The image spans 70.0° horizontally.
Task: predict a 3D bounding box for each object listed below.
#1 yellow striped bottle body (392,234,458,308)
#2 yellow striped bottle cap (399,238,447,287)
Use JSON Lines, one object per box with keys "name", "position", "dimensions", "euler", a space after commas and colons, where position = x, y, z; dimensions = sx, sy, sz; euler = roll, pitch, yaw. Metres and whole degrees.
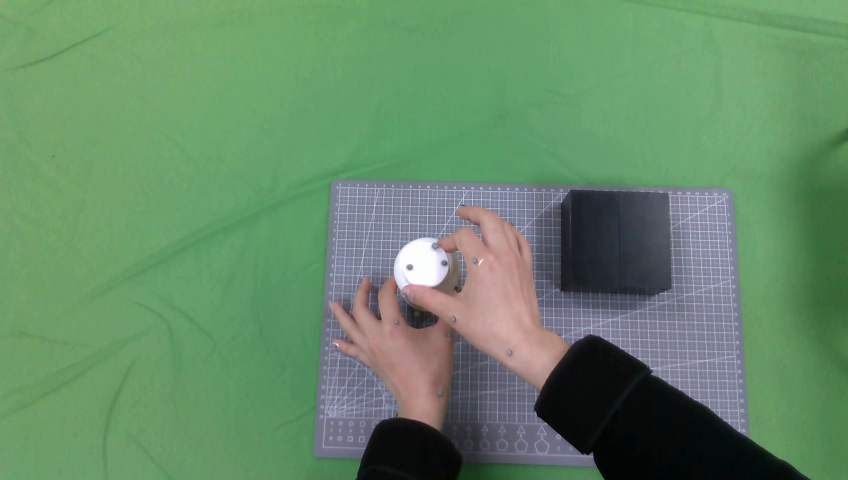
{"name": "yellow striped bottle body", "position": [0.001, 0.032, 0.603], "dimensions": [0.063, 0.121, 0.062], "euler": [0, 78, 1]}
{"name": "yellow striped bottle cap", "position": [-0.001, 0.020, 0.552], "dimensions": [0.044, 0.019, 0.044], "euler": [0, 81, -1]}
